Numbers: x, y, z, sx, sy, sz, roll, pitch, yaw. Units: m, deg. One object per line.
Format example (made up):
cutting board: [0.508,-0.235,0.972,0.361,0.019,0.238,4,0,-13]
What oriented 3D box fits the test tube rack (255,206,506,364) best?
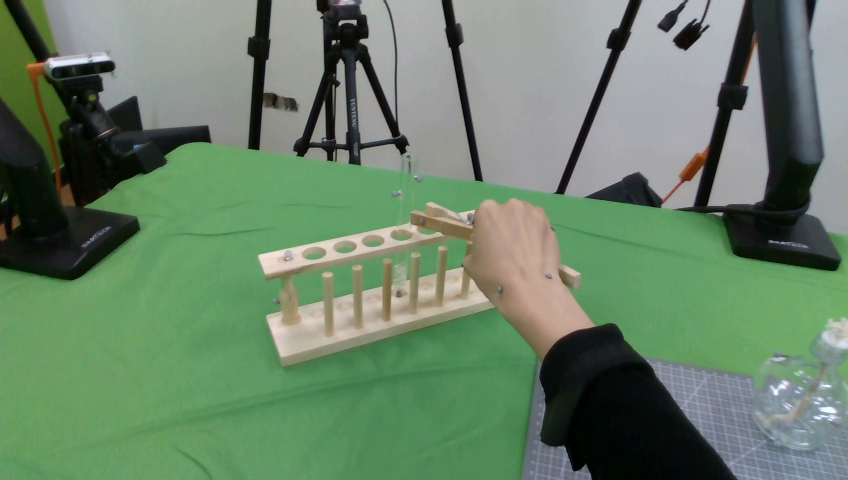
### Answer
test tube rack: [-0.035,0.039,0.603,0.243,0.086,0.066,-13,36,-22]

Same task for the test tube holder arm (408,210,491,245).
test tube holder arm: [0.024,-0.012,0.555,0.087,0.015,0.010,14,39,28]

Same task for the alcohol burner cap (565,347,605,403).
alcohol burner cap: [0.143,0.115,0.530,0.034,0.048,0.033,2,34,-1]

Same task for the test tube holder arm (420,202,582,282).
test tube holder arm: [0.062,-0.002,0.534,0.177,0.015,0.013,24,45,38]

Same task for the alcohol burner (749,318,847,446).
alcohol burner: [0.308,0.108,0.485,0.078,0.120,0.077,2,35,-1]

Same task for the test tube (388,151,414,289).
test tube: [-0.023,-0.015,0.596,0.017,0.151,0.017,5,29,-2]
